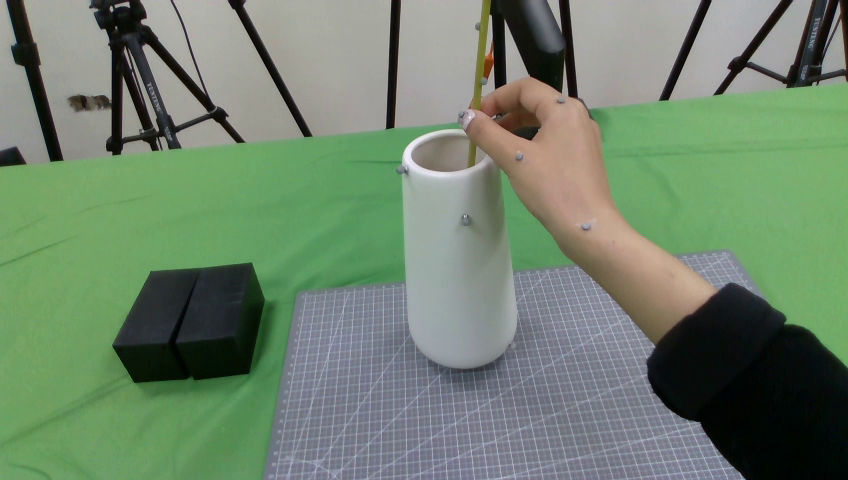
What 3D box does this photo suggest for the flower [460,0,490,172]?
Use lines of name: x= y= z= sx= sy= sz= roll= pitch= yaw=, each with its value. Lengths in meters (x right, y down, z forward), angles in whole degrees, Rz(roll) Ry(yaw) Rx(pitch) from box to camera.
flower: x=0.031 y=-0.052 z=0.442 sx=0.044 sy=0.364 sz=0.038 roll=10 pitch=30 yaw=7

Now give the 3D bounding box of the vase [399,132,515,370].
vase: x=0.025 y=0.014 z=0.498 sx=0.098 sy=0.202 sz=0.097 roll=-5 pitch=37 yaw=4
